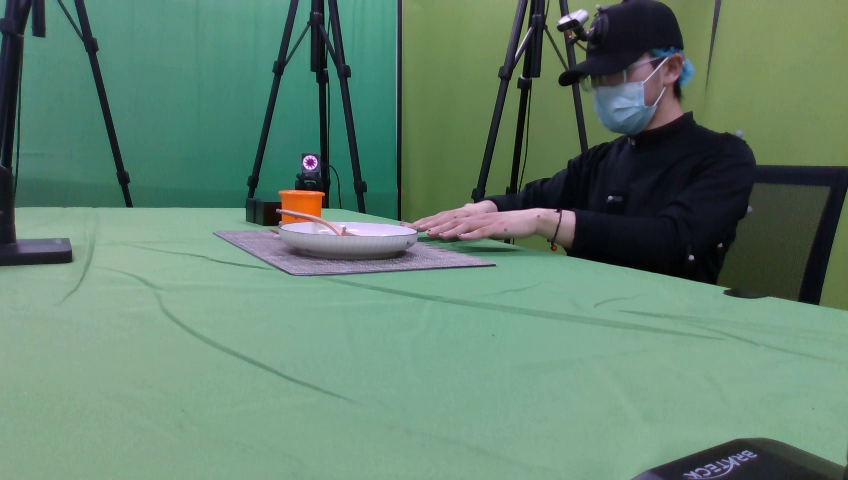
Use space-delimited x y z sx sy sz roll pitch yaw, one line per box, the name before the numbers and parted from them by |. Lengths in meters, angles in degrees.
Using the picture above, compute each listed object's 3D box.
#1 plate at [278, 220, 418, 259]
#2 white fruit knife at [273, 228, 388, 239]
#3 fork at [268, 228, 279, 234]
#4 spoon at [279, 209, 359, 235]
plate | -0.114 -0.002 0.914 0.209 0.038 0.209 2 7 0
white fruit knife | -0.158 -0.009 1.055 0.208 0.016 0.027 -3 -22 -23
fork | -0.174 -0.017 1.084 0.208 0.018 0.028 -3 -3 -30
spoon | -0.163 -0.027 0.976 0.193 0.021 0.042 21 17 30
